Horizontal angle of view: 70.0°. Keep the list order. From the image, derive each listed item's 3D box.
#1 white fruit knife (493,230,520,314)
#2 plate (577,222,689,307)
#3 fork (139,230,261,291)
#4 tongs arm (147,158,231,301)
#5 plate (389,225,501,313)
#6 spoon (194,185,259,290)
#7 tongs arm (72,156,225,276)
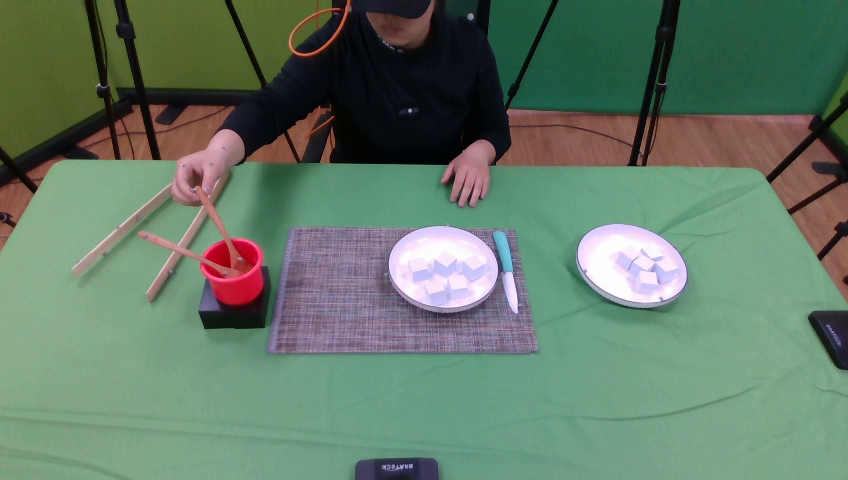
[{"bbox_3d":[0.160,0.057,1.154,0.027,0.016,0.206,-21,46,16],"label":"white fruit knife"},{"bbox_3d":[0.396,0.050,1.165,0.209,0.038,0.208,2,47,-2],"label":"plate"},{"bbox_3d":[-0.359,0.033,0.980,0.208,0.018,0.028,32,59,-31],"label":"fork"},{"bbox_3d":[-0.454,-0.034,1.194,0.028,0.028,0.385,7,46,6],"label":"tongs arm"},{"bbox_3d":[0.038,0.057,1.128,0.208,0.039,0.206,2,46,-2],"label":"plate"},{"bbox_3d":[-0.330,-0.004,1.011,0.041,0.194,0.021,-32,17,-33],"label":"spoon"},{"bbox_3d":[-0.531,-0.057,1.205,0.050,0.026,0.383,19,47,12],"label":"tongs arm"}]
